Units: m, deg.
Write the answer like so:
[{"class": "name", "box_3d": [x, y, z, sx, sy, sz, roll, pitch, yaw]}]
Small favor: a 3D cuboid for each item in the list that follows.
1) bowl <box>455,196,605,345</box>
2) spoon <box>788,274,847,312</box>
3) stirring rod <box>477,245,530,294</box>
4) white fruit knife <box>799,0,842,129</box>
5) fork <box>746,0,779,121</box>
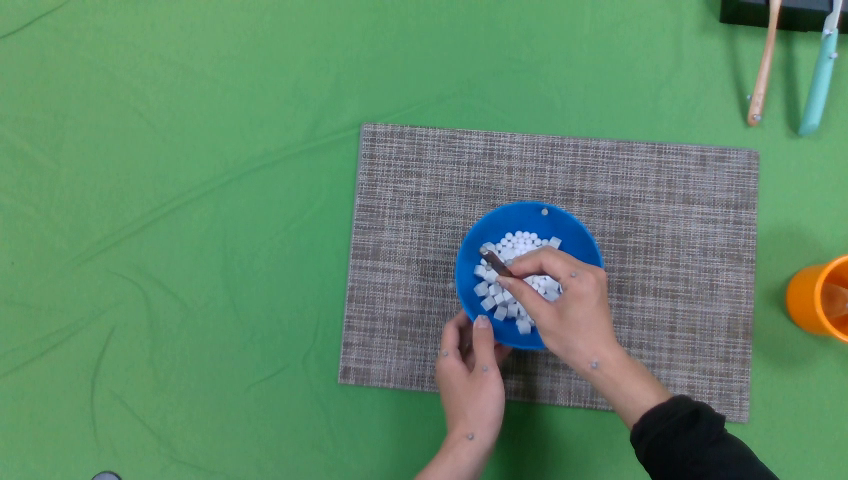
[{"class": "bowl", "box_3d": [0.107, 0.034, 0.642, 0.151, 0.077, 0.151, 0, 85, 3]}, {"class": "spoon", "box_3d": [0.468, 0.058, 0.594, 0.022, 0.192, 0.041, 10, 85, -41]}, {"class": "stirring rod", "box_3d": [0.079, 0.031, 0.579, 0.014, 0.177, 0.006, 9, 77, 23]}, {"class": "white fruit knife", "box_3d": [0.434, -0.224, 0.649, 0.016, 0.027, 0.208, 5, 102, 0]}, {"class": "fork", "box_3d": [0.373, -0.233, 0.654, 0.028, 0.018, 0.208, 2, 105, 0]}]
